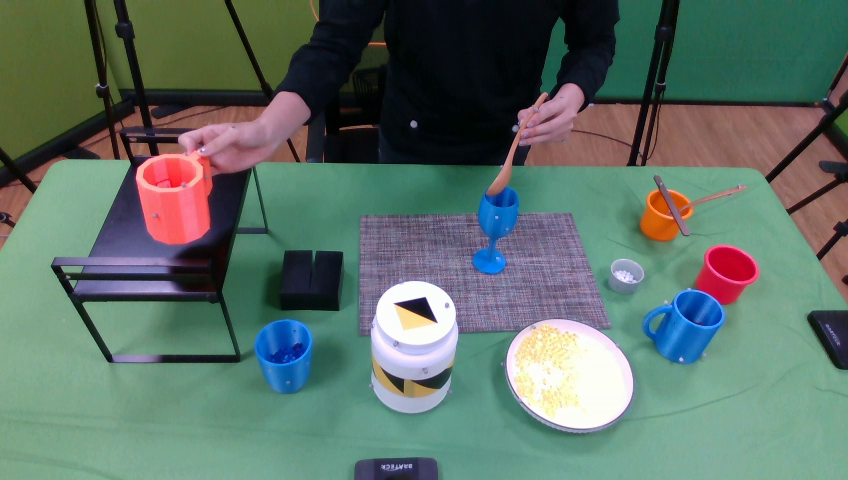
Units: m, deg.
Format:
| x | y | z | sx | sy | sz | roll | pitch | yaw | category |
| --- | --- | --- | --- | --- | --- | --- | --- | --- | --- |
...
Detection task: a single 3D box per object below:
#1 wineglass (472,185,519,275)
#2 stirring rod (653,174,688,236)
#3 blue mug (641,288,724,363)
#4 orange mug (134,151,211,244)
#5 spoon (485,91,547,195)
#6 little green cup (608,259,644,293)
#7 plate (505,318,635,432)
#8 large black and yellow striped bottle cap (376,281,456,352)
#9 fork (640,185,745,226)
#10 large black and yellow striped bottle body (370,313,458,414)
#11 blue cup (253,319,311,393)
| x | y | z | sx | sy | sz | roll | pitch | yaw | category |
| --- | --- | --- | --- | --- | --- | --- | --- | --- | --- |
| 0.129 | -0.018 | 1.113 | 0.074 | 0.173 | 0.073 | 2 | 46 | -2 | wineglass |
| 0.491 | -0.072 | 1.211 | 0.014 | 0.006 | 0.175 | 0 | 47 | -6 | stirring rod |
| 0.432 | 0.144 | 1.033 | 0.116 | 0.106 | 0.082 | 8 | 46 | 5 | blue mug |
| -0.348 | -0.070 | 0.867 | 0.083 | 0.101 | 0.125 | 17 | 47 | 7 | orange mug |
| 0.152 | -0.158 | 1.004 | 0.021 | 0.194 | 0.042 | 35 | 21 | 33 | spoon |
| 0.379 | 0.070 | 1.147 | 0.061 | 0.039 | 0.061 | 3 | 45 | -3 | little green cup |
| 0.235 | 0.221 | 0.991 | 0.209 | 0.038 | 0.208 | 2 | 45 | -2 | plate |
| -0.011 | 0.107 | 0.863 | 0.115 | 0.019 | 0.114 | 2 | 47 | -2 | large black and yellow striped bottle cap |
| 0.534 | -0.069 | 1.215 | 0.207 | 0.019 | 0.028 | -26 | 27 | 33 | fork |
| -0.017 | 0.165 | 0.924 | 0.131 | 0.185 | 0.130 | 2 | 46 | -2 | large black and yellow striped bottle body |
| -0.217 | 0.188 | 0.943 | 0.093 | 0.101 | 0.092 | 3 | 45 | -3 | blue cup |
